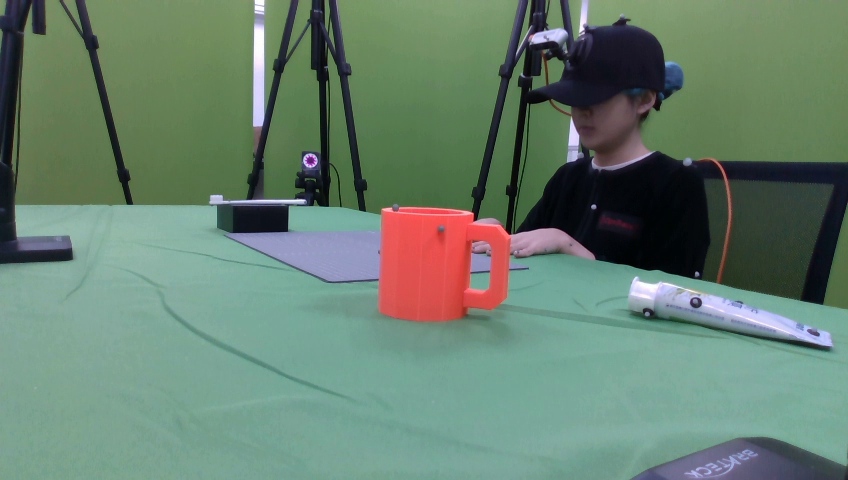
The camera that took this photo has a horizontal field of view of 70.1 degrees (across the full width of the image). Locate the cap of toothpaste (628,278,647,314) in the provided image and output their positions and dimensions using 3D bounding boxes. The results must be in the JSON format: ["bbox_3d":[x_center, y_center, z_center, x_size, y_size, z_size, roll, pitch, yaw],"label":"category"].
[{"bbox_3d":[0.209,0.055,0.589,0.011,0.037,0.037,11,11,28],"label":"cap of toothpaste"}]

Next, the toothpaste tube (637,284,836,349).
[{"bbox_3d":[0.275,0.070,0.550,0.164,0.034,0.055,11,15,28],"label":"toothpaste tube"}]

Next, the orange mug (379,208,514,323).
[{"bbox_3d":[0.019,0.021,0.557,0.126,0.100,0.084,1,6,20],"label":"orange mug"}]

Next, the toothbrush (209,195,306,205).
[{"bbox_3d":[-0.303,-0.073,1.117,0.183,0.016,0.014,-2,6,-36],"label":"toothbrush"}]
